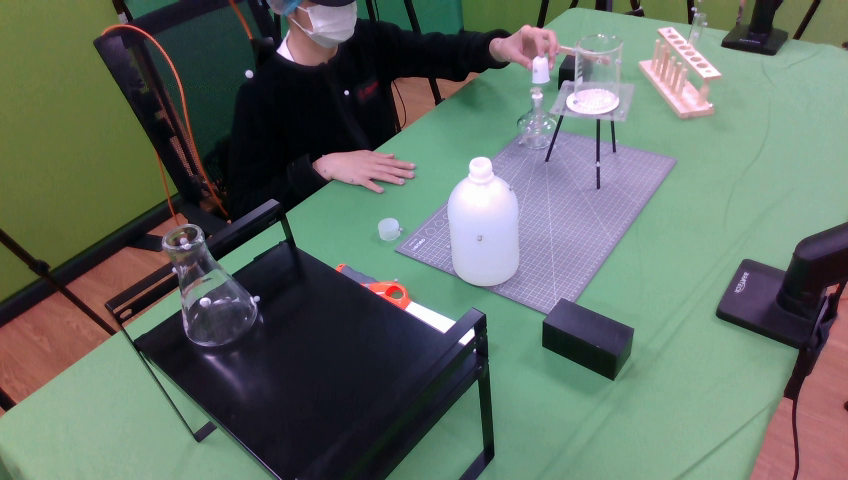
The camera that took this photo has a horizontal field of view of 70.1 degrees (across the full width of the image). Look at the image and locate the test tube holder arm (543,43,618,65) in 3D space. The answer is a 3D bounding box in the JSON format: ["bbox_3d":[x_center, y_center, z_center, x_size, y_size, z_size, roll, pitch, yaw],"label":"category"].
[{"bbox_3d":[0.344,-0.413,1.340,0.177,0.015,0.013,25,49,31],"label":"test tube holder arm"}]

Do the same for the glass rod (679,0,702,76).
[{"bbox_3d":[0.543,-0.417,1.233,0.008,0.200,0.008,1,39,0],"label":"glass rod"}]

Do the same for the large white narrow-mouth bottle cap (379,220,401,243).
[{"bbox_3d":[-0.057,-0.015,1.011,0.038,0.024,0.037,-4,40,4],"label":"large white narrow-mouth bottle cap"}]

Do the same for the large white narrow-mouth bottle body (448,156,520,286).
[{"bbox_3d":[0.086,-0.032,0.869,0.102,0.195,0.101,-4,40,4],"label":"large white narrow-mouth bottle body"}]

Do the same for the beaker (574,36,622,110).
[{"bbox_3d":[0.285,-0.273,0.990,0.073,0.101,0.084,15,46,27],"label":"beaker"}]

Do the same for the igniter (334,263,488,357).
[{"bbox_3d":[-0.030,0.095,0.872,0.274,0.025,0.057,23,60,31],"label":"igniter"}]

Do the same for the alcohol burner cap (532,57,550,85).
[{"bbox_3d":[0.211,-0.307,1.093,0.034,0.048,0.033,-6,31,4],"label":"alcohol burner cap"}]

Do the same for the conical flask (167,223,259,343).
[{"bbox_3d":[-0.220,0.041,0.613,0.075,0.122,0.075,-5,40,4],"label":"conical flask"}]

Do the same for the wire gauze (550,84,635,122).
[{"bbox_3d":[0.285,-0.234,1.021,0.124,0.011,0.121,8,41,24],"label":"wire gauze"}]

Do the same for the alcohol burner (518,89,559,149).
[{"bbox_3d":[0.218,-0.235,1.149,0.078,0.119,0.077,-5,43,5],"label":"alcohol burner"}]

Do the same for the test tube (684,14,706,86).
[{"bbox_3d":[0.540,-0.378,1.215,0.017,0.151,0.017,-2,44,3],"label":"test tube"}]

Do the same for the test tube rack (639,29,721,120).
[{"bbox_3d":[0.527,-0.351,1.262,0.067,0.085,0.241,-8,40,1],"label":"test tube rack"}]

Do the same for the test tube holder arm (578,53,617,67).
[{"bbox_3d":[0.376,-0.393,1.314,0.087,0.015,0.010,25,50,32],"label":"test tube holder arm"}]

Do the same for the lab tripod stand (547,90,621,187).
[{"bbox_3d":[0.289,-0.184,1.062,0.148,0.132,0.147,-6,41,6],"label":"lab tripod stand"}]
